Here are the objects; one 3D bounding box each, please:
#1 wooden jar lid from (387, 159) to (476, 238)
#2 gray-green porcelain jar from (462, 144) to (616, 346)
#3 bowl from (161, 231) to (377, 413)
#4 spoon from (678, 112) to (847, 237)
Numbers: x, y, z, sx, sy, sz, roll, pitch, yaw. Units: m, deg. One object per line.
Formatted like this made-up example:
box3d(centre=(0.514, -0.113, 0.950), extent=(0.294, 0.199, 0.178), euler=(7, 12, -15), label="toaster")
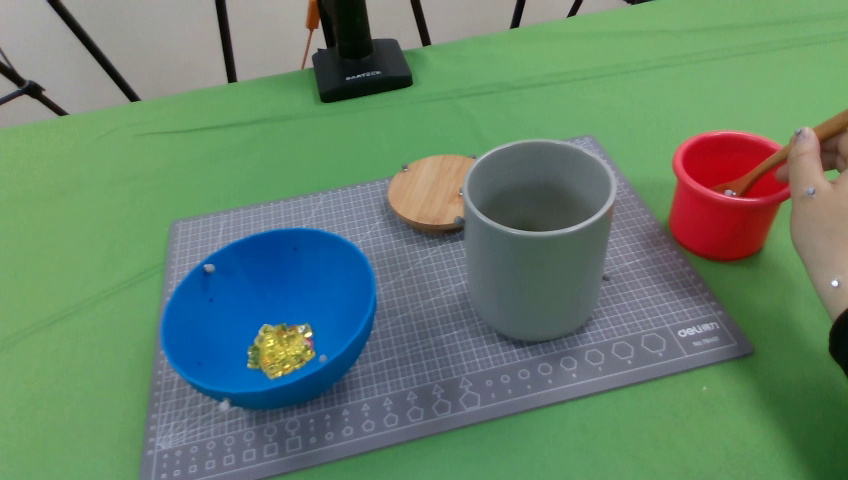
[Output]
box3d(centre=(0.019, -0.040, 0.595), extent=(0.108, 0.021, 0.107), euler=(-4, 43, 4), label="wooden jar lid")
box3d(centre=(0.083, 0.009, 0.457), extent=(0.106, 0.128, 0.105), euler=(-4, 44, 4), label="gray-green porcelain jar")
box3d(centre=(-0.104, 0.072, 0.451), extent=(0.151, 0.077, 0.150), euler=(-4, 44, 4), label="bowl")
box3d(centre=(0.266, -0.053, 0.463), extent=(0.022, 0.194, 0.041), euler=(17, 61, -10), label="spoon")
